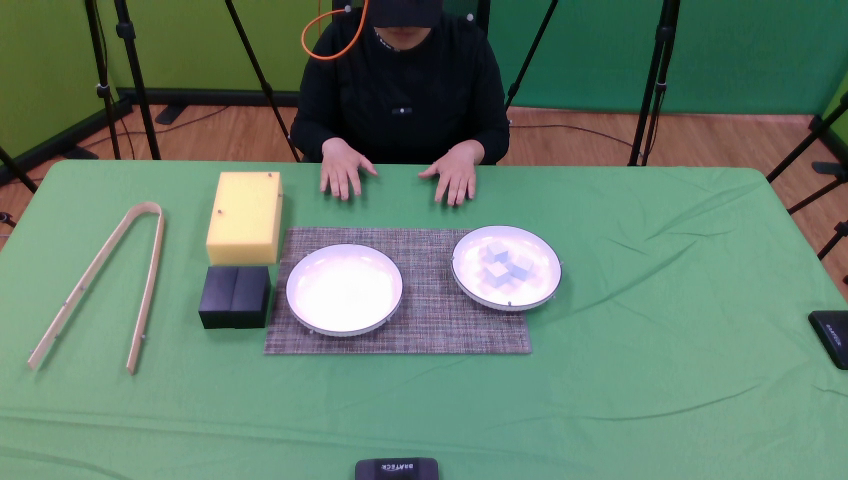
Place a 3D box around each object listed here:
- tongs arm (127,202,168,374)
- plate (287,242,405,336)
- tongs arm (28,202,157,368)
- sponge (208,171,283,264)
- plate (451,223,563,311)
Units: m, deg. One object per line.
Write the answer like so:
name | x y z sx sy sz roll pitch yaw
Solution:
tongs arm | -0.496 0.070 1.090 0.028 0.028 0.385 -6 47 -6
plate | -0.138 0.090 1.084 0.208 0.039 0.206 2 46 -2
tongs arm | -0.579 0.064 1.084 0.051 0.026 0.382 6 45 1
sponge | -0.346 -0.048 1.191 0.118 0.061 0.205 -2 46 -6
plate | 0.154 0.053 1.140 0.209 0.038 0.208 2 47 -2
